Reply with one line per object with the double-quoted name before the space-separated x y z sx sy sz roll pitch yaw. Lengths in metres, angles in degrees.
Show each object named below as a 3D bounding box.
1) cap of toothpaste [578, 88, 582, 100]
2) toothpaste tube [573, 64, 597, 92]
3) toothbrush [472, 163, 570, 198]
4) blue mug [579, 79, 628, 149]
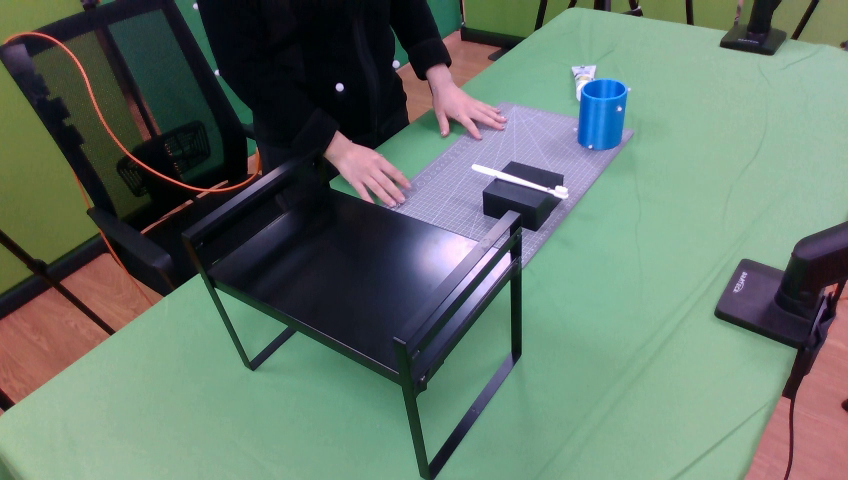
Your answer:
"cap of toothpaste" 0.342 -0.308 1.270 0.037 0.037 0.011 1 38 10
"toothpaste tube" 0.358 -0.355 1.331 0.055 0.034 0.164 5 38 8
"toothbrush" 0.157 -0.101 0.996 0.180 0.017 0.014 22 55 30
"blue mug" 0.336 -0.246 1.143 0.082 0.106 0.116 0 41 10
